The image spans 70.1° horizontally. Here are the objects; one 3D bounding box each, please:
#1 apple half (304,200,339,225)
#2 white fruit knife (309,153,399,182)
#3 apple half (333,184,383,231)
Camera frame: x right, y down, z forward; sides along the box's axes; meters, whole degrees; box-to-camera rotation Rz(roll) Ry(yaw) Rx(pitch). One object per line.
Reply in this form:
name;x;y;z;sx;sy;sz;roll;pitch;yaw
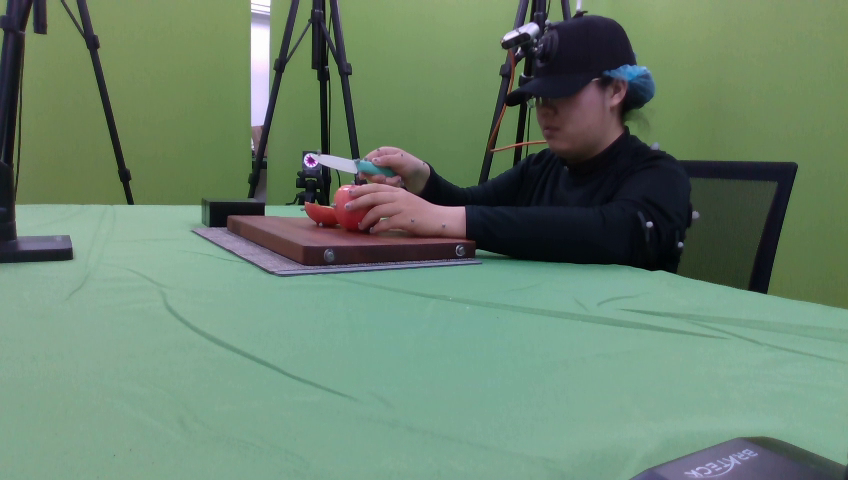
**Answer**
apple half;-0.163;-0.040;1.000;0.081;0.033;0.081;15;-2;1
white fruit knife;-0.116;-0.128;1.046;0.016;0.027;0.208;-1;-5;40
apple half;-0.097;-0.050;0.949;0.081;0.074;0.053;1;11;-42
